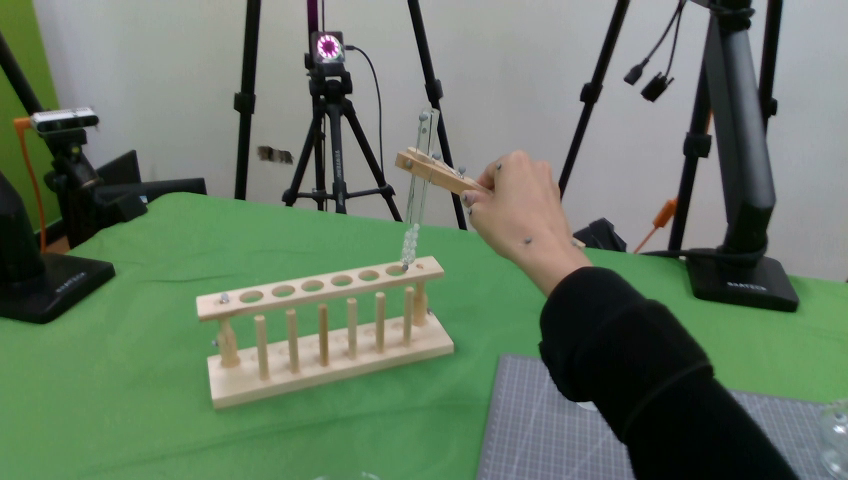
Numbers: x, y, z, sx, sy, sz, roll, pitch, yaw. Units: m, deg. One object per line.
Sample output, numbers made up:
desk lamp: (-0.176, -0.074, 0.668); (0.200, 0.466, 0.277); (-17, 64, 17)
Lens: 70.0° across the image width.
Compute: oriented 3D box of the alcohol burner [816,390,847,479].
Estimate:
alcohol burner: (0.368, 0.140, 0.490); (0.078, 0.120, 0.077); (3, 29, -1)

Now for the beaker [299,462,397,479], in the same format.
beaker: (-0.050, 0.201, 0.378); (0.083, 0.101, 0.074); (11, 30, 19)

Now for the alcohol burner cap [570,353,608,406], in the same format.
alcohol burner cap: (0.158, 0.129, 0.576); (0.034, 0.048, 0.033); (1, 28, 0)

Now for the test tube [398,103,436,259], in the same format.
test tube: (-0.007, -0.048, 0.541); (0.017, 0.151, 0.017); (7, 29, -4)

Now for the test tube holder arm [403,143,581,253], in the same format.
test tube holder arm: (0.052, -0.039, 0.508); (0.177, 0.015, 0.013); (31, 38, 22)

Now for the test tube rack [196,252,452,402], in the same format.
test tube rack: (-0.094, 0.082, 0.612); (0.243, 0.086, 0.066); (-9, 31, -19)

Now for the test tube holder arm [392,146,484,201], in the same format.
test tube holder arm: (0.012, -0.057, 0.519); (0.087, 0.015, 0.010); (26, 36, 16)
